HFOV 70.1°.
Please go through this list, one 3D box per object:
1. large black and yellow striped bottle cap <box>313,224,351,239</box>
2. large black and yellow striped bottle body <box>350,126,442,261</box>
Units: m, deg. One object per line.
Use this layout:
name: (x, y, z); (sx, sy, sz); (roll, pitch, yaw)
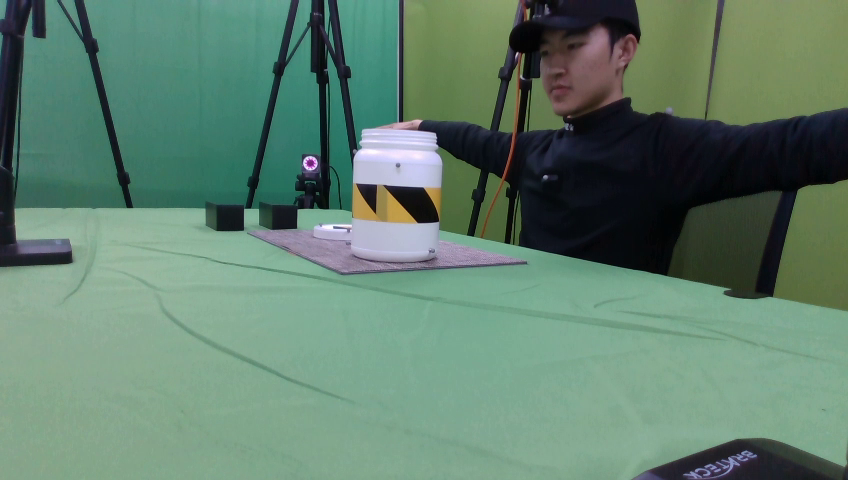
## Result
large black and yellow striped bottle cap: (-0.145, -0.016, 1.107); (0.115, 0.019, 0.115); (3, 7, 0)
large black and yellow striped bottle body: (-0.040, -0.068, 0.881); (0.131, 0.184, 0.130); (2, 7, 0)
